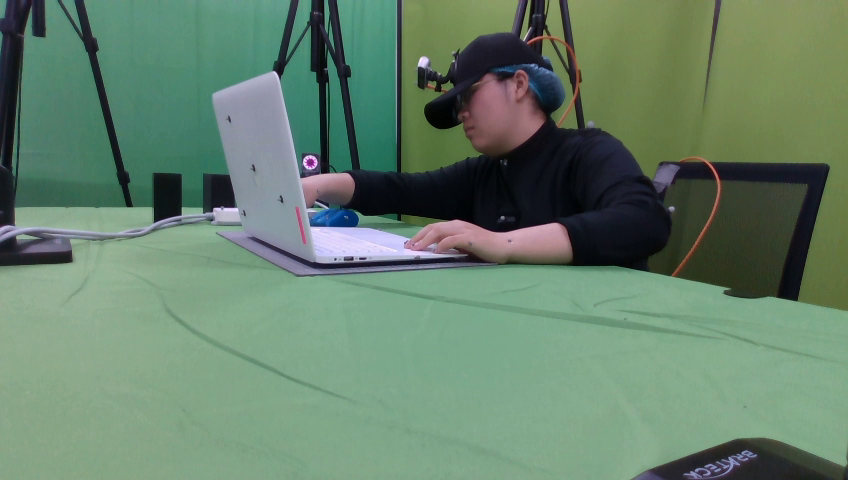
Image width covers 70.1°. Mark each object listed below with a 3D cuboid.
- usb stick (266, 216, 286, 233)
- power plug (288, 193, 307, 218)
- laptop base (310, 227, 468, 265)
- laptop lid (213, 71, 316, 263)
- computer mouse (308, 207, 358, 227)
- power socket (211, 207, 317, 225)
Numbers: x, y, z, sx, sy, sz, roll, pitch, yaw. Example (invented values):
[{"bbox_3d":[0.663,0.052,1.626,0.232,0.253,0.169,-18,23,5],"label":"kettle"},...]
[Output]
[{"bbox_3d":[-0.277,-0.028,1.123,0.021,0.027,0.059,-2,14,8],"label":"usb stick"},{"bbox_3d":[-0.282,-0.076,1.341,0.035,0.052,0.072,3,7,-19],"label":"power plug"},{"bbox_3d":[-0.122,0.007,0.954,0.237,0.023,0.352,2,6,-31],"label":"laptop base"},{"bbox_3d":[-0.241,-0.104,0.865,0.013,0.241,0.355,-16,17,-28],"label":"laptop lid"},{"bbox_3d":[-0.195,-0.046,1.277,0.062,0.041,0.118,10,15,31],"label":"computer mouse"},{"bbox_3d":[-0.335,-0.052,1.282,0.228,0.032,0.072,-2,9,-28],"label":"power socket"}]
